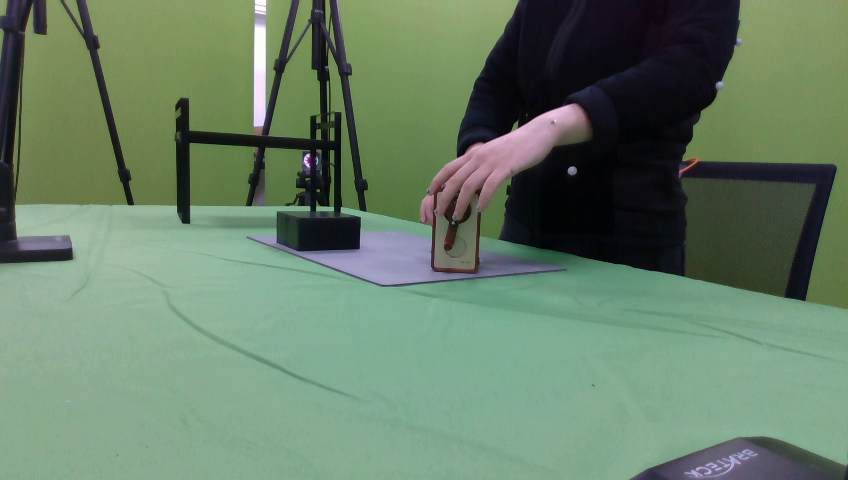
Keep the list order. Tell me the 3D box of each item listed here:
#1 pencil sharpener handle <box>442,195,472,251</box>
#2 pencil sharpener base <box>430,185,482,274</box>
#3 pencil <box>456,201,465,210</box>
[{"bbox_3d":[0.035,-0.020,0.731,0.036,0.067,0.030,15,9,2],"label":"pencil sharpener handle"},{"bbox_3d":[0.042,-0.015,0.783,0.061,0.107,0.076,3,9,4],"label":"pencil sharpener base"},{"bbox_3d":[0.052,-0.049,0.873,0.012,0.012,0.194,3,4,5],"label":"pencil"}]
